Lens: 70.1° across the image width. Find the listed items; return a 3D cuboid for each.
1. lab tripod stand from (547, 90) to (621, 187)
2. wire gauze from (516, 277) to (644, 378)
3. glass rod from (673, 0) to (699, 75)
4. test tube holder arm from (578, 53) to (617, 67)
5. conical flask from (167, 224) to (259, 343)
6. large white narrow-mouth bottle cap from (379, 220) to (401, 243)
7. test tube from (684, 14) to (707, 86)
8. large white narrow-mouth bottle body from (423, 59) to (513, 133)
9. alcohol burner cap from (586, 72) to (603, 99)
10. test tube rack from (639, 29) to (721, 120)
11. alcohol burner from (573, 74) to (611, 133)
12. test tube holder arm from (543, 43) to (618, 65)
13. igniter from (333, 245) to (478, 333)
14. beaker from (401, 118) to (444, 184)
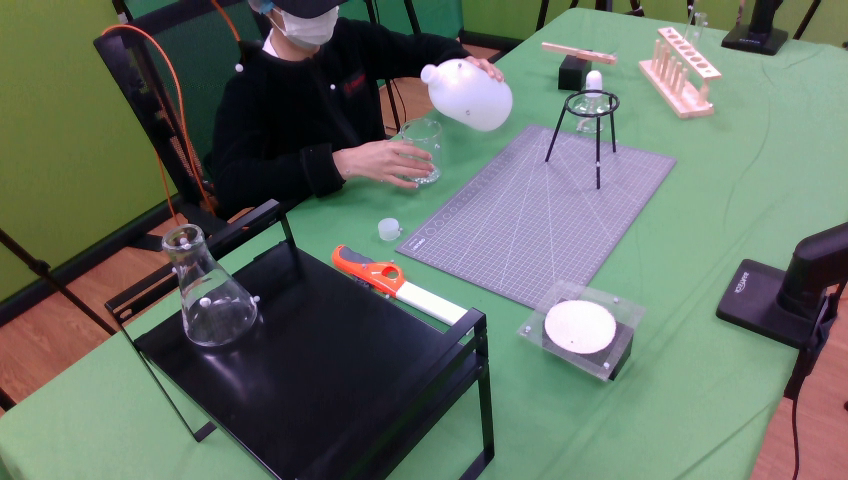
[{"bbox_3d":[0.289,-0.184,1.062,0.148,0.132,0.147,-6,41,6],"label":"lab tripod stand"},{"bbox_3d":[0.197,0.103,0.765,0.124,0.011,0.122,23,50,31],"label":"wire gauze"},{"bbox_3d":[0.541,-0.427,1.246,0.008,0.200,0.008,0,48,1],"label":"glass rod"},{"bbox_3d":[0.376,-0.393,1.314,0.087,0.015,0.010,26,51,32],"label":"test tube holder arm"},{"bbox_3d":[-0.220,0.041,0.613,0.075,0.122,0.075,-5,40,4],"label":"conical flask"},{"bbox_3d":[-0.057,-0.015,1.012,0.038,0.024,0.037,-4,40,4],"label":"large white narrow-mouth bottle cap"},{"bbox_3d":[0.541,-0.379,1.216,0.017,0.151,0.017,-2,44,2],"label":"test tube"},{"bbox_3d":[0.072,-0.271,1.104,0.196,0.101,0.101,17,16,-47],"label":"large white narrow-mouth bottle body"},{"bbox_3d":[0.325,-0.297,1.154,0.034,0.048,0.033,-8,35,6],"label":"alcohol burner cap"},{"bbox_3d":[0.527,-0.351,1.262,0.067,0.085,0.241,-8,40,1],"label":"test tube rack"},{"bbox_3d":[0.330,-0.270,1.176,0.078,0.119,0.077,-4,43,4],"label":"alcohol burner"},{"bbox_3d":[0.345,-0.413,1.341,0.177,0.015,0.013,25,50,31],"label":"test tube holder arm"},{"bbox_3d":[-0.038,0.068,0.905,0.274,0.025,0.057,24,60,32],"label":"igniter"},{"bbox_3d":[0.001,-0.162,1.102,0.073,0.100,0.084,14,45,19],"label":"beaker"}]
